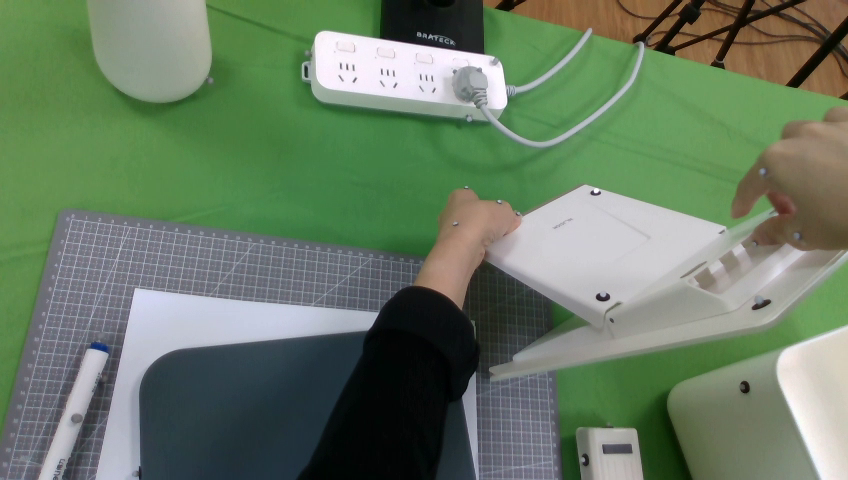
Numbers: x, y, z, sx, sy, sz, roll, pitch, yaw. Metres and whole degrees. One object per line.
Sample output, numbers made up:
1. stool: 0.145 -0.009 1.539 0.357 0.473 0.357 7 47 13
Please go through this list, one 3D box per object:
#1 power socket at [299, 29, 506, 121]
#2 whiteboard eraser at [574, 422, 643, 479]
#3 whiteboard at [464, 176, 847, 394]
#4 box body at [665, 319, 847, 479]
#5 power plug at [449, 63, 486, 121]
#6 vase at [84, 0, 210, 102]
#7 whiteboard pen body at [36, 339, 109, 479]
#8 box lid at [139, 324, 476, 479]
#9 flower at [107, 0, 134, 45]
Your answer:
1. power socket: -0.016 -0.173 0.643 0.228 0.032 0.071 3 69 -19
2. whiteboard eraser: 0.169 0.223 0.549 0.056 0.042 0.112 4 68 -17
3. whiteboard: 0.169 -0.010 0.490 0.217 0.306 0.143 -26 81 -28
4. box body: 0.413 0.260 0.555 0.255 0.161 0.361 -11 73 -23
5. power plug: 0.042 -0.151 0.630 0.035 0.053 0.072 13 72 -15
6. vase: -0.225 -0.198 0.484 0.098 0.200 0.097 7 67 -16
7. whiteboard pen body: -0.257 0.140 0.435 0.017 0.017 0.140 16 67 -13
8. box lid: -0.072 0.251 0.468 0.264 0.015 0.369 -3 71 -21
9. flower: -0.181 -0.217 0.415 0.044 0.360 0.038 -42 104 -37
